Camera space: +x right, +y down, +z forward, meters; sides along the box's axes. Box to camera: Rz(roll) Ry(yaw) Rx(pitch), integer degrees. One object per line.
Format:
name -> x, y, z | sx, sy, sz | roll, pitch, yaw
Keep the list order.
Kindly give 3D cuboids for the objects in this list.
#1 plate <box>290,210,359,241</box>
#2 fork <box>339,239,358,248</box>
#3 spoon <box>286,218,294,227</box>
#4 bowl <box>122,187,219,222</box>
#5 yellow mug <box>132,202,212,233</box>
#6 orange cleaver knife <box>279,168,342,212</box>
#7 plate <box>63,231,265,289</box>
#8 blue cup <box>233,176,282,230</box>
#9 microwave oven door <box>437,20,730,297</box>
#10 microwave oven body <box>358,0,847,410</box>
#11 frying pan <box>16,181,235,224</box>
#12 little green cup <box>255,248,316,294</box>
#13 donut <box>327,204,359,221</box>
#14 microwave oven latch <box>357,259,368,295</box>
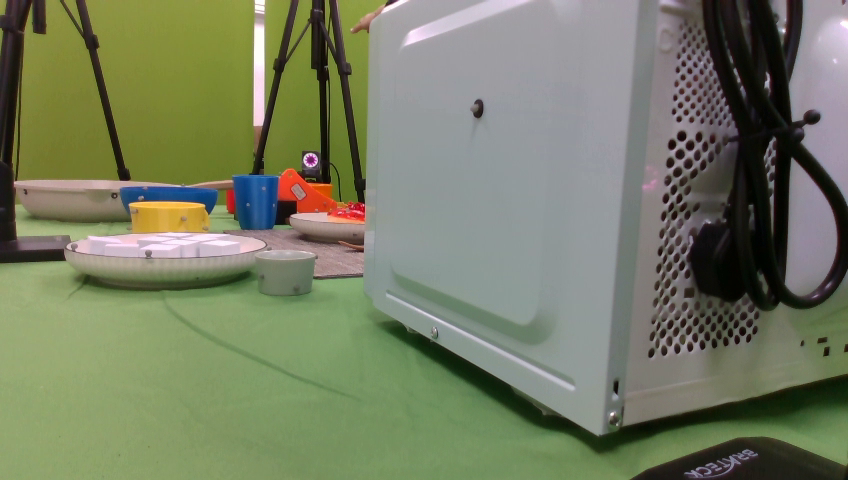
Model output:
plate -> -0.127, -0.025, 1.051 | 0.209, 0.038, 0.209 | 2, 7, 0
fork -> -0.027, 0.003, 0.925 | 0.208, 0.018, 0.028 | -2, -2, -19
spoon -> -0.180, -0.036, 1.209 | 0.195, 0.021, 0.041 | -4, -13, -31
bowl -> -0.421, -0.046, 1.012 | 0.151, 0.077, 0.151 | 2, 8, 0
yellow mug -> -0.356, -0.020, 0.878 | 0.099, 0.064, 0.131 | 5, 7, 21
orange cleaver knife -> -0.236, -0.084, 1.332 | 0.212, 0.077, 0.012 | 31, -10, -31
plate -> -0.288, 0.021, 0.687 | 0.208, 0.039, 0.207 | 2, 8, 0
blue cup -> -0.314, -0.071, 1.141 | 0.093, 0.100, 0.092 | 0, 7, 0
microwave oven door -> 0.181, -0.076, 0.618 | 0.358, 0.243, 0.039 | -2, 9, -28
microwave oven body -> 0.210, -0.051, 0.471 | 0.444, 0.260, 0.324 | -1, 7, -28
frying pan -> -0.554, -0.097, 1.266 | 0.490, 0.102, 0.305 | -10, 13, -24
little green cup -> -0.144, 0.032, 0.627 | 0.061, 0.038, 0.061 | 4, 7, 0
donut -> -0.120, -0.037, 1.056 | 0.099, 0.048, 0.099 | 5, 6, 0
microwave oven latch -> -0.019, 0.031, 0.529 | 0.079, 0.029, 0.030 | -1, 7, -26
